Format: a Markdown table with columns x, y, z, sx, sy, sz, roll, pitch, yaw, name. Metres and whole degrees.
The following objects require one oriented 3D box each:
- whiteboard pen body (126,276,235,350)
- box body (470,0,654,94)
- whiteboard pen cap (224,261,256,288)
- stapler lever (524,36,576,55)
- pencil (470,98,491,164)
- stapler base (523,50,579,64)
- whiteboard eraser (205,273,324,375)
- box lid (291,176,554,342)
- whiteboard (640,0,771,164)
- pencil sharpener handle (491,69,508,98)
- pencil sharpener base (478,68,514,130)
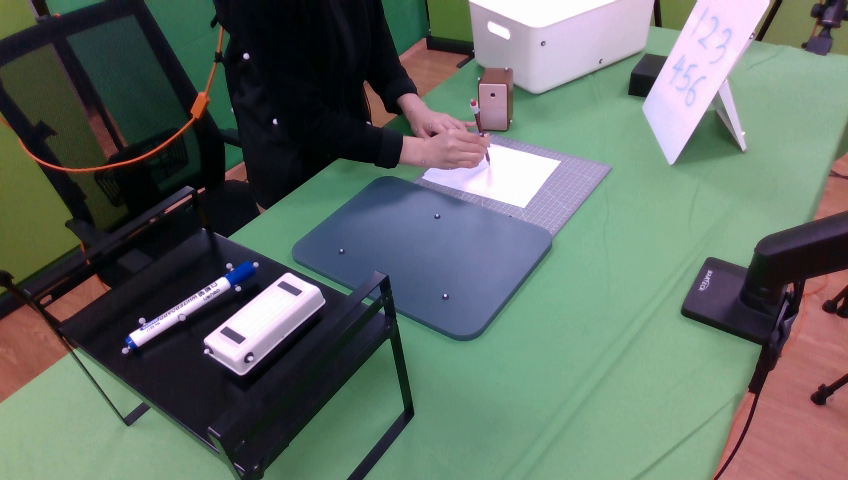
| x | y | z | sx | sy | sz | roll | pitch | yaw | name |
| --- | --- | --- | --- | --- | --- | --- | --- | --- | --- |
| -0.251 | 0.070 | 0.649 | 0.141 | 0.017 | 0.017 | -36 | 48 | -25 | whiteboard pen body |
| 0.319 | -0.498 | 1.405 | 0.365 | 0.161 | 0.252 | -26 | 43 | -21 | box body |
| -0.207 | 0.039 | 0.677 | 0.033 | 0.018 | 0.018 | -35 | 47 | -18 | whiteboard pen cap |
| 0.296 | -0.456 | 1.418 | 0.117 | 0.040 | 0.027 | 4 | 40 | 17 | stapler lever |
| 0.101 | -0.183 | 1.048 | 0.012 | 0.195 | 0.012 | -6 | 64 | 12 | pencil |
| 0.301 | -0.436 | 1.434 | 0.130 | 0.024 | 0.041 | 5 | 40 | 16 | stapler base |
| -0.157 | 0.084 | 0.605 | 0.055 | 0.042 | 0.113 | 24 | 49 | 30 | whiteboard eraser |
| -0.005 | 0.011 | 0.972 | 0.368 | 0.015 | 0.264 | 21 | 49 | 30 | box lid |
| 0.543 | -0.299 | 1.076 | 0.144 | 0.305 | 0.216 | 12 | 40 | -7 | whiteboard |
| 0.155 | -0.329 | 1.254 | 0.036 | 0.068 | 0.030 | 17 | 43 | 4 | pencil sharpener handle |
| 0.148 | -0.286 | 1.225 | 0.061 | 0.107 | 0.076 | 5 | 41 | 15 | pencil sharpener base |
